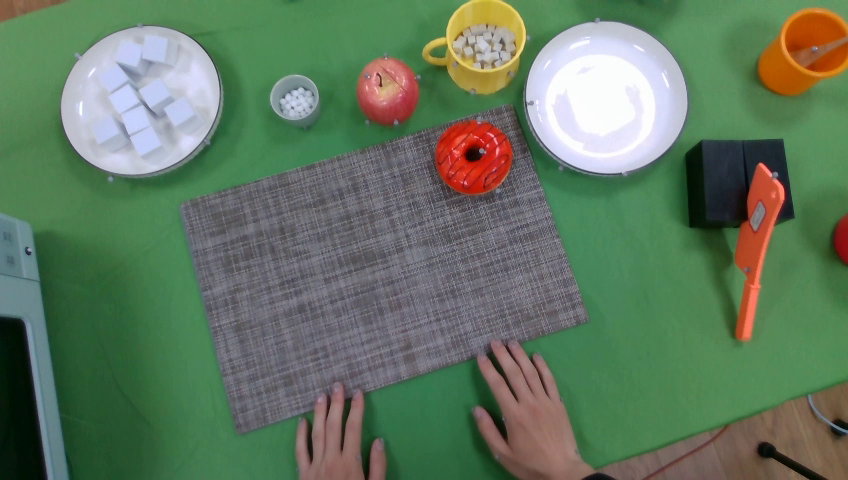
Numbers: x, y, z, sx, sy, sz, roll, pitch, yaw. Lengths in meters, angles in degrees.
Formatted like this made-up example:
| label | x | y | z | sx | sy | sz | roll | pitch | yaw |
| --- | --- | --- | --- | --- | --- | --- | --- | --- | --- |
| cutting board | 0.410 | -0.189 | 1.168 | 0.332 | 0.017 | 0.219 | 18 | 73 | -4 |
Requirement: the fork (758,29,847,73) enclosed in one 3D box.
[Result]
| label | x | y | z | sx | sy | sz | roll | pitch | yaw |
| --- | --- | --- | --- | --- | --- | --- | --- | --- | --- |
| fork | 0.517 | -0.252 | 0.733 | 0.206 | 0.019 | 0.028 | -18 | 75 | 42 |

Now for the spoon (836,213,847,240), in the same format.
| label | x | y | z | sx | sy | sz | roll | pitch | yaw |
| --- | --- | --- | --- | --- | --- | --- | --- | --- | --- |
| spoon | 0.582 | 0.002 | 0.692 | 0.192 | 0.022 | 0.041 | 20 | 72 | 49 |

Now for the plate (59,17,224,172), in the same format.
| label | x | y | z | sx | sy | sz | roll | pitch | yaw |
| --- | --- | --- | --- | --- | --- | --- | --- | --- | --- |
| plate | -0.360 | -0.185 | 0.787 | 0.208 | 0.039 | 0.207 | 0 | 80 | 1 |

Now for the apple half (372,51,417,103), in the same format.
| label | x | y | z | sx | sy | sz | roll | pitch | yaw |
| --- | --- | --- | --- | --- | --- | --- | --- | --- | --- |
| apple half | -0.031 | -0.212 | 0.770 | 0.033 | 0.081 | 0.081 | -45 | 82 | -2 |

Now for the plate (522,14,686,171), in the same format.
| label | x | y | z | sx | sy | sz | roll | pitch | yaw |
| --- | --- | --- | --- | --- | --- | --- | --- | --- | --- |
| plate | 0.228 | -0.186 | 0.781 | 0.209 | 0.038 | 0.208 | 0 | 80 | 1 |

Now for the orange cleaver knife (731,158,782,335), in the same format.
| label | x | y | z | sx | sy | sz | roll | pitch | yaw |
| --- | --- | --- | --- | --- | --- | --- | --- | --- | --- |
| orange cleaver knife | 0.386 | 0.010 | 0.721 | 0.012 | 0.076 | 0.212 | 1 | 112 | 3 |

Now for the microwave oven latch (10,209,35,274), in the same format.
| label | x | y | z | sx | sy | sz | roll | pitch | yaw |
| --- | --- | --- | --- | --- | --- | --- | --- | --- | --- |
| microwave oven latch | -0.499 | 0.004 | 0.738 | 0.030 | 0.029 | 0.079 | -14 | 81 | -2 |

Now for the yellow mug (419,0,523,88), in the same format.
| label | x | y | z | sx | sy | sz | roll | pitch | yaw |
| --- | --- | --- | --- | --- | --- | --- | --- | --- | --- |
| yellow mug | 0.059 | -0.253 | 0.781 | 0.131 | 0.064 | 0.099 | -7 | 80 | 0 |

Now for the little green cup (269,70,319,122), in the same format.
| label | x | y | z | sx | sy | sz | roll | pitch | yaw |
| --- | --- | --- | --- | --- | --- | --- | --- | --- | --- |
| little green cup | -0.166 | -0.184 | 0.785 | 0.061 | 0.039 | 0.061 | 0 | 80 | 1 |

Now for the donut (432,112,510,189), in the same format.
| label | x | y | z | sx | sy | sz | roll | pitch | yaw |
| --- | --- | --- | --- | --- | --- | --- | --- | --- | --- |
| donut | 0.059 | -0.113 | 0.764 | 0.099 | 0.048 | 0.098 | 0 | 81 | 3 |

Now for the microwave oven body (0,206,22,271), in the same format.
| label | x | y | z | sx | sy | sz | roll | pitch | yaw |
| --- | --- | --- | --- | --- | --- | --- | --- | --- | --- |
| microwave oven body | -0.600 | 0.191 | 0.609 | 0.326 | 0.261 | 0.440 | -15 | 81 | -2 |

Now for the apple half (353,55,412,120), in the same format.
| label | x | y | z | sx | sy | sz | roll | pitch | yaw |
| --- | --- | --- | --- | --- | --- | --- | --- | --- | --- |
| apple half | -0.059 | -0.184 | 0.767 | 0.053 | 0.075 | 0.080 | -44 | 86 | -2 |

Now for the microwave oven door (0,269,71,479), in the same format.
| label | x | y | z | sx | sy | sz | roll | pitch | yaw |
| --- | --- | --- | --- | --- | --- | --- | --- | --- | --- |
| microwave oven door | -0.448 | 0.194 | 0.602 | 0.039 | 0.244 | 0.354 | -15 | 80 | -2 |
